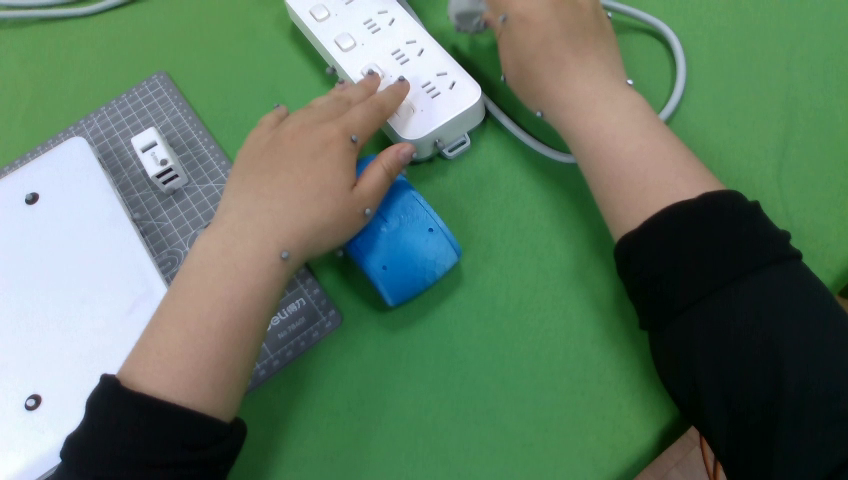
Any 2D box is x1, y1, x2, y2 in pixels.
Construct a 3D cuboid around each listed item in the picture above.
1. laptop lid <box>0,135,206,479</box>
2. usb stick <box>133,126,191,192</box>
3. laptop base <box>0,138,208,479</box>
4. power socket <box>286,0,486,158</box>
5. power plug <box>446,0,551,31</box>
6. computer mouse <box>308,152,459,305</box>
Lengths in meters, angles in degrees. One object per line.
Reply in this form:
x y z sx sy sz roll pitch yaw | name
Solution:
-0.341 0.095 0.398 0.357 0.013 0.239 -34 65 -8 | laptop lid
-0.203 -0.066 0.464 0.021 0.027 0.058 -34 60 -7 | usb stick
-0.340 0.099 0.409 0.354 0.023 0.233 -36 66 -9 | laptop base
-0.036 -0.151 0.477 0.072 0.033 0.224 -34 62 -7 | power socket
0.052 -0.172 0.461 0.073 0.052 0.035 12 90 -19 | power plug
-0.031 -0.014 0.405 0.063 0.041 0.116 -36 58 -7 | computer mouse
